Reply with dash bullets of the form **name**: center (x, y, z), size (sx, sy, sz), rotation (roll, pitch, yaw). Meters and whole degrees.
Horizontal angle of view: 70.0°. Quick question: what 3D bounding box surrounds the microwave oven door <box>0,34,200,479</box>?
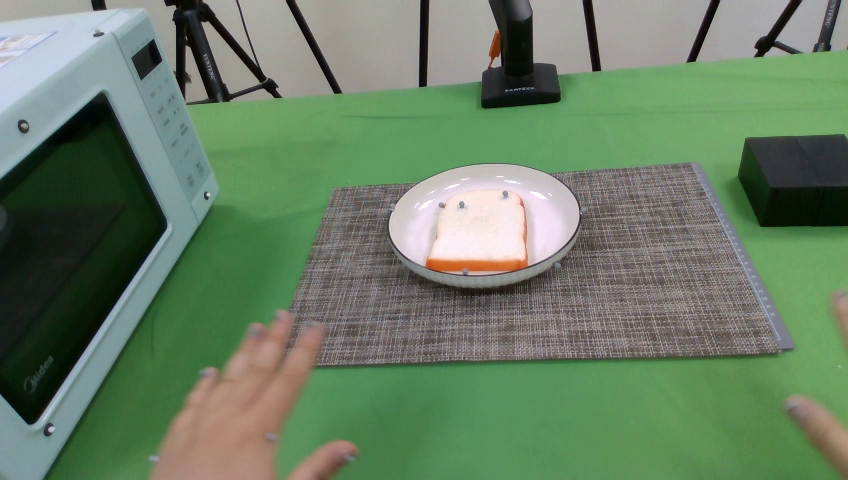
- **microwave oven door**: center (-0.319, 0.001, 0.532), size (0.039, 0.246, 0.352), rotation (-3, 38, 9)

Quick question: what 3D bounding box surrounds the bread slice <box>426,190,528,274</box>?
- **bread slice**: center (0.060, -0.012, 0.662), size (0.105, 0.019, 0.130), rotation (-1, 39, 10)

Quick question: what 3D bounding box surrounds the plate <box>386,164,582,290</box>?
- **plate**: center (0.064, -0.014, 0.660), size (0.209, 0.038, 0.207), rotation (-6, 38, 5)

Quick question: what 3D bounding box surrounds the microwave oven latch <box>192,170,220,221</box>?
- **microwave oven latch**: center (-0.284, -0.056, 0.764), size (0.030, 0.030, 0.078), rotation (-2, 39, 9)

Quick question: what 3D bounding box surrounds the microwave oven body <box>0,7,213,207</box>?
- **microwave oven body**: center (-0.459, -0.014, 0.589), size (0.325, 0.263, 0.437), rotation (-2, 39, 8)
